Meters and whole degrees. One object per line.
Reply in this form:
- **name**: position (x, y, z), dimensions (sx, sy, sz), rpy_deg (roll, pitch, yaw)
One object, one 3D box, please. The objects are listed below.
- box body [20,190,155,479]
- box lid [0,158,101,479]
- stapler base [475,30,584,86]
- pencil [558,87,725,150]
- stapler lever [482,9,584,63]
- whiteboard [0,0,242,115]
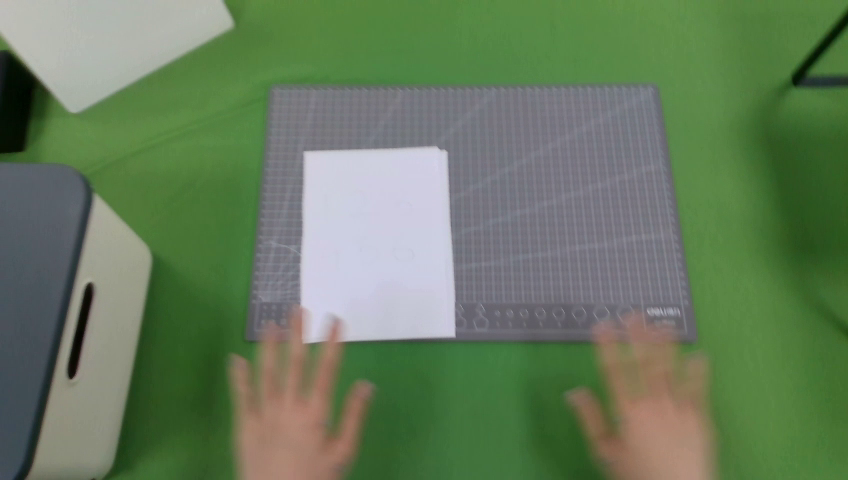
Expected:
- **box body**: position (-0.453, 0.078, 0.530), dimensions (0.364, 0.161, 0.252), rpy_deg (2, 69, 1)
- **box lid**: position (-0.455, 0.050, 0.460), dimensions (0.371, 0.015, 0.261), rpy_deg (2, 69, 0)
- **stapler base**: position (0.126, -0.225, 0.710), dimensions (0.130, 0.024, 0.041), rpy_deg (27, 71, 9)
- **pencil**: position (0.243, -0.140, 0.686), dimensions (0.193, 0.012, 0.012), rpy_deg (24, 71, 12)
- **stapler lever**: position (0.124, -0.235, 0.685), dimensions (0.117, 0.040, 0.026), rpy_deg (26, 71, 10)
- **whiteboard**: position (-0.376, -0.334, 0.641), dimensions (0.217, 0.308, 0.142), rpy_deg (-33, 53, -11)
